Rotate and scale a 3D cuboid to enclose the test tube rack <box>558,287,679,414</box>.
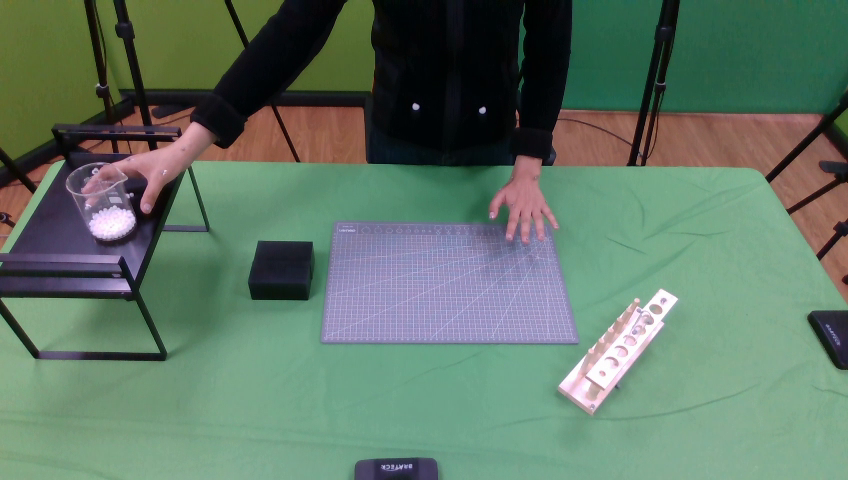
[{"bbox_3d":[0.326,0.170,1.009,0.066,0.085,0.242,35,54,26],"label":"test tube rack"}]

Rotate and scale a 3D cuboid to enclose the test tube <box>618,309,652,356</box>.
[{"bbox_3d":[0.328,0.156,0.955,0.017,0.151,0.017,1,50,-1],"label":"test tube"}]

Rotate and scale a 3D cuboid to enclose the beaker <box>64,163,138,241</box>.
[{"bbox_3d":[-0.477,-0.055,0.910,0.084,0.101,0.073,-9,47,-13],"label":"beaker"}]
